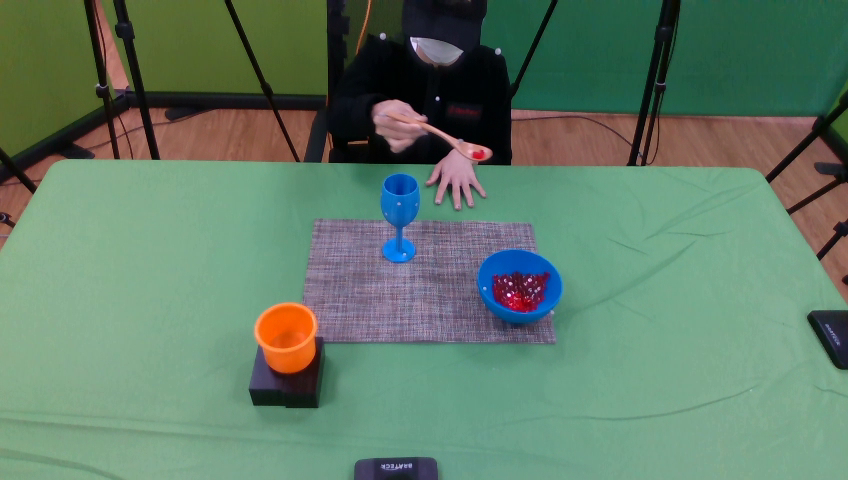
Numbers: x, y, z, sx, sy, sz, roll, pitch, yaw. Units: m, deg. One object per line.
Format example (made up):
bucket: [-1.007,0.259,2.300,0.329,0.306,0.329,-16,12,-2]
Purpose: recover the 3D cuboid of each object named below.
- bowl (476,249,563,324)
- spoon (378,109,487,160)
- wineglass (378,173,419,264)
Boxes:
bowl: [0.163,0.096,1.073,0.151,0.077,0.150,2,45,-2]
spoon: [0.015,-0.178,1.006,0.194,0.022,0.041,26,45,-3]
wineglass: [-0.047,-0.037,1.121,0.074,0.173,0.073,2,46,-2]
